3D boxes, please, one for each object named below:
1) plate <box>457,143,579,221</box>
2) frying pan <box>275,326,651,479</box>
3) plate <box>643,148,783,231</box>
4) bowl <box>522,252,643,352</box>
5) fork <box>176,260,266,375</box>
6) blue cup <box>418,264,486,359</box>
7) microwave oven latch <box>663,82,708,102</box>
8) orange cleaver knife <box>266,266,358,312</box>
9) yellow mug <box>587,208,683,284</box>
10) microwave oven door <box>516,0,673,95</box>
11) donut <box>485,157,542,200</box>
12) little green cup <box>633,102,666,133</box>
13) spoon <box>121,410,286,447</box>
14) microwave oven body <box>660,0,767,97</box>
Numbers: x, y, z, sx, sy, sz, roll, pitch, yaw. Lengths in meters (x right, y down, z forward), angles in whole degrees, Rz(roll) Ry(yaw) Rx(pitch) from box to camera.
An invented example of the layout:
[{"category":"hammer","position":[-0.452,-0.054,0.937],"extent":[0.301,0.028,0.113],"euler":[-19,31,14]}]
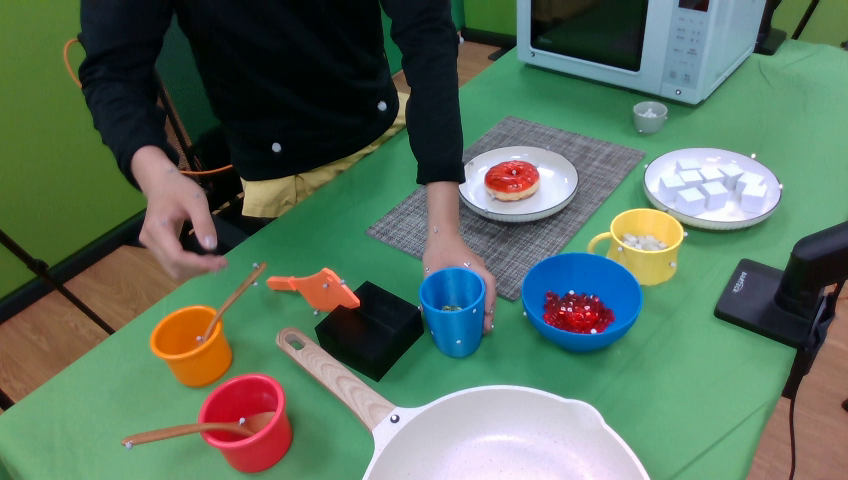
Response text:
[{"category":"plate","position":[0.161,-0.097,1.042],"extent":[0.209,0.038,0.208],"euler":[-4,40,4]},{"category":"frying pan","position":[0.004,0.229,0.641],"extent":[0.484,0.103,0.308],"euler":[34,54,28]},{"category":"plate","position":[0.464,-0.079,0.985],"extent":[0.207,0.039,0.206],"euler":[-4,40,4]},{"category":"bowl","position":[0.204,0.093,0.792],"extent":[0.151,0.077,0.150],"euler":[-4,40,4]},{"category":"fork","position":[-0.267,0.102,0.792],"extent":[0.207,0.019,0.028],"euler":[-51,40,16]},{"category":"blue cup","position":[0.040,0.101,0.788],"extent":[0.092,0.100,0.092],"euler":[-4,38,4]},{"category":"microwave oven latch","position":[0.518,-0.299,1.203],"extent":[0.078,0.029,0.030],"euler":[29,53,36]},{"category":"orange cleaver knife","position":[-0.164,0.072,0.865],"extent":[0.210,0.077,0.012],"euler":[-5,30,50]},{"category":"yellow mug","position":[0.305,0.009,0.884],"extent":[0.131,0.064,0.099],"euler":[-4,41,5]},{"category":"microwave oven door","position":[0.344,-0.458,1.255],"extent":[0.353,0.245,0.039],"euler":[26,51,33]},{"category":"donut","position":[0.153,-0.108,1.039],"extent":[0.099,0.048,0.098],"euler":[-6,37,5]},{"category":"little green cup","position":[0.434,-0.237,1.171],"extent":[0.061,0.039,0.061],"euler":[-5,40,5]},{"category":"spoon","position":[-0.236,0.208,0.669],"extent":[0.041,0.021,0.195],"euler":[36,13,38]},{"category":"microwave oven body","position":[0.473,-0.516,1.313],"extent":[0.438,0.261,0.327],"euler":[26,51,34]}]
